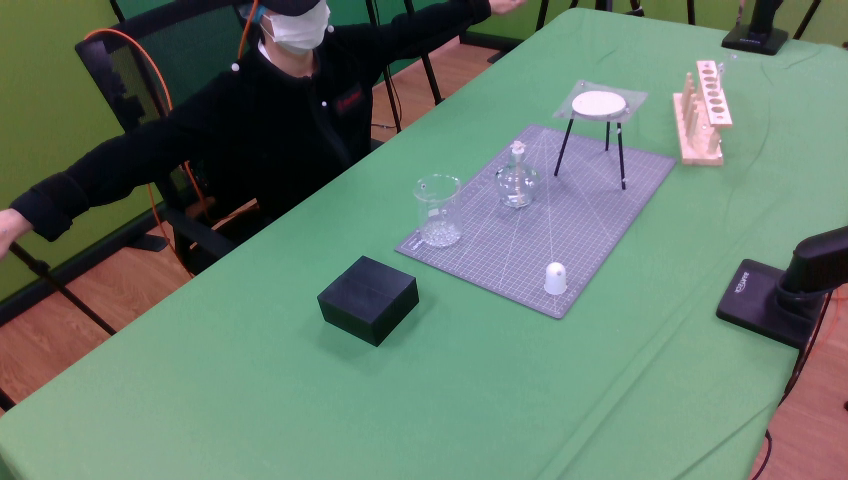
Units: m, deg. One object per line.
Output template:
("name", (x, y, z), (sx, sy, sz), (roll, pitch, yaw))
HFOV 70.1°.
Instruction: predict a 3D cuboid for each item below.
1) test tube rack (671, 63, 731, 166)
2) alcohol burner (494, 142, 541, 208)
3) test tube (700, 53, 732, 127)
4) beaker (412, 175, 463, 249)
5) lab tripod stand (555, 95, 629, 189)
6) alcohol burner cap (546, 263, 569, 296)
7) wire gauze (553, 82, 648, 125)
("test tube rack", (0.513, -0.241, 1.132), (0.066, 0.085, 0.242), (4, 41, 14))
("alcohol burner", (0.157, -0.113, 1.011), (0.078, 0.119, 0.077), (-3, 41, 3))
("test tube", (0.521, -0.265, 1.081), (0.017, 0.151, 0.017), (-3, 47, 3))
("beaker", (0.027, -0.043, 0.959), (0.084, 0.101, 0.073), (-26, 43, -22))
("lab tripod stand", (0.300, -0.174, 1.045), (0.148, 0.132, 0.147), (-5, 38, 5))
("alcohol burner cap", (0.191, 0.053, 0.862), (0.034, 0.048, 0.033), (-5, 40, 4))
("wire gauze", (0.293, -0.225, 1.002), (0.120, 0.011, 0.125), (17, 45, 27))
